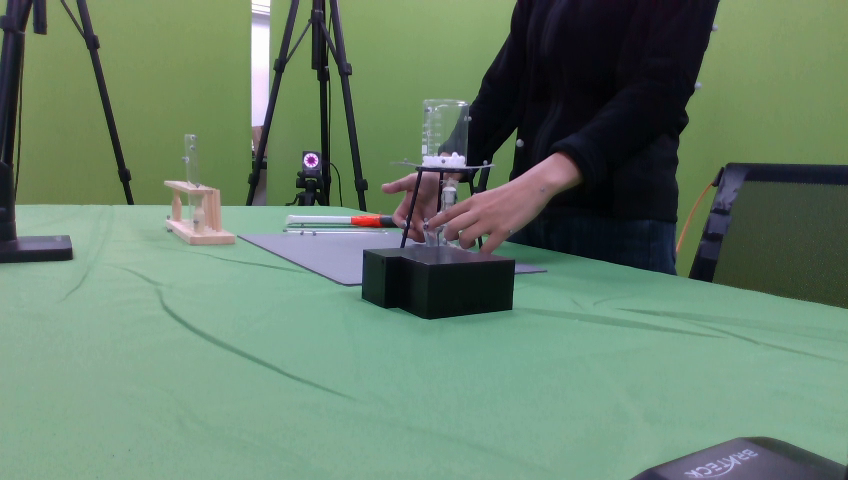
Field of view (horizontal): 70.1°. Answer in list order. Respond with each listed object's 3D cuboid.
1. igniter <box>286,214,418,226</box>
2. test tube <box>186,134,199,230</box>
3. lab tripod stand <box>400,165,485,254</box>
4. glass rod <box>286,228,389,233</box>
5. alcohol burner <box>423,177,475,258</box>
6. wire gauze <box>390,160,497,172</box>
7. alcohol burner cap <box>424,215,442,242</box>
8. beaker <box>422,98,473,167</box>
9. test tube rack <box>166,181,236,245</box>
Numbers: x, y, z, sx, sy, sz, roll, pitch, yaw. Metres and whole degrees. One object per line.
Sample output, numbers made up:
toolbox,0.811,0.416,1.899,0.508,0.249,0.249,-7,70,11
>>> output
igniter,-0.146,-0.043,1.263,0.278,0.025,0.057,-1,-2,-24
test tube,-0.360,-0.089,0.946,0.017,0.150,0.017,0,10,0
lab tripod stand,0.027,-0.049,0.930,0.148,0.131,0.148,3,9,0
glass rod,-0.154,-0.016,1.101,0.201,0.008,0.008,1,7,-31
alcohol burner,0.037,-0.034,0.896,0.078,0.119,0.078,1,6,0
wire gauze,0.027,-0.114,0.920,0.122,0.011,0.124,-5,13,-34
alcohol burner cap,0.017,-0.022,1.098,0.034,0.048,0.034,2,8,0
beaker,0.031,-0.162,0.919,0.074,0.100,0.083,-4,10,-36
test tube rack,-0.383,-0.051,1.024,0.067,0.085,0.241,-2,9,-31
